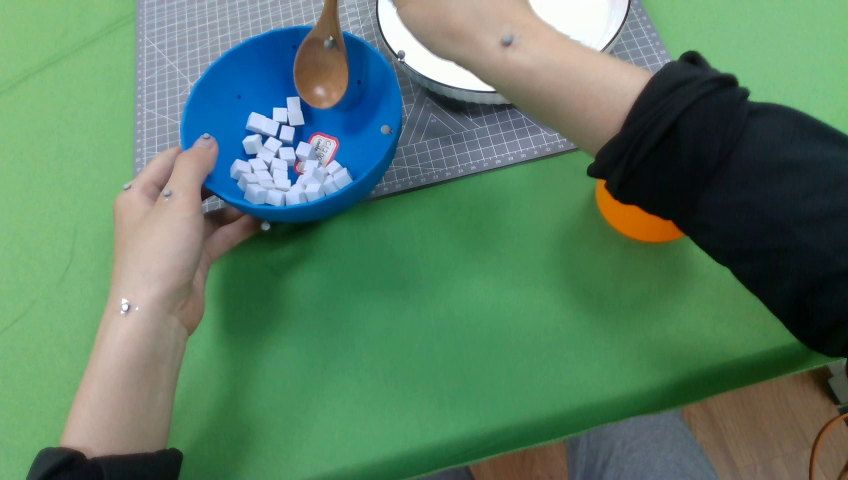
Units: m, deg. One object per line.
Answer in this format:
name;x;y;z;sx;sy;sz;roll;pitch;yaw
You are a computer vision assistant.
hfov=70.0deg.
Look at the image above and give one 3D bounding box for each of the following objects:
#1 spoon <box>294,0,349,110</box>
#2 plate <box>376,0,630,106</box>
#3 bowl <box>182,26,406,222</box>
spoon;-0.053;-0.152;0.367;0.041;0.194;0.021;29;56;1
plate;0.064;-0.194;0.514;0.209;0.038;0.207;-3;64;6
bowl;-0.084;-0.070;0.439;0.151;0.077;0.150;-2;66;4
